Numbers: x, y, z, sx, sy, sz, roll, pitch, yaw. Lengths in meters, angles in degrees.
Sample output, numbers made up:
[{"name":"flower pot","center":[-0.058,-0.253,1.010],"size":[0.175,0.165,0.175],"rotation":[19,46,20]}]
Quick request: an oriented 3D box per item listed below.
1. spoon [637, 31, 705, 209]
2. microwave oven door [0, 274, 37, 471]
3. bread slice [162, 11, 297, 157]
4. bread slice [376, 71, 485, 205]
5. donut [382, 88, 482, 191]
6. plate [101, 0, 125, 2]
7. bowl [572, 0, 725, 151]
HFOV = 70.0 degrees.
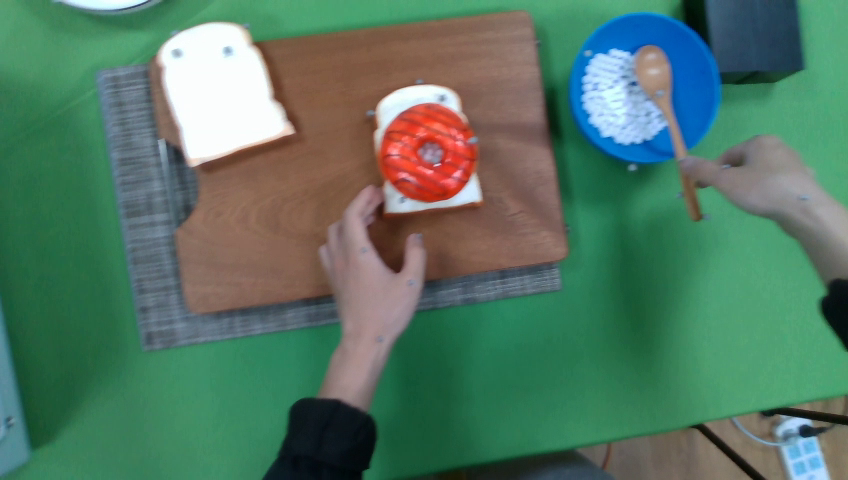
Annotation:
[{"name":"spoon","center":[0.248,-0.122,0.602],"size":[0.042,0.022,0.192],"rotation":[-4,70,-12]},{"name":"microwave oven door","center":[-0.439,0.045,0.498],"size":[0.039,0.243,0.355],"rotation":[-11,91,-3]},{"name":"bread slice","center":[-0.202,-0.160,0.608],"size":[0.107,0.018,0.134],"rotation":[-23,91,-3]},{"name":"bread slice","center":[0.002,-0.106,0.621],"size":[0.105,0.019,0.131],"rotation":[-9,92,-4]},{"name":"donut","center":[0.008,-0.098,0.592],"size":[0.099,0.048,0.099],"rotation":[0,91,-3]},{"name":"plate","center":[-0.321,-0.345,0.621],"size":[0.208,0.039,0.207],"rotation":[0,91,-3]},{"name":"bowl","center":[0.220,-0.163,0.631],"size":[0.151,0.077,0.151],"rotation":[0,91,-3]}]
